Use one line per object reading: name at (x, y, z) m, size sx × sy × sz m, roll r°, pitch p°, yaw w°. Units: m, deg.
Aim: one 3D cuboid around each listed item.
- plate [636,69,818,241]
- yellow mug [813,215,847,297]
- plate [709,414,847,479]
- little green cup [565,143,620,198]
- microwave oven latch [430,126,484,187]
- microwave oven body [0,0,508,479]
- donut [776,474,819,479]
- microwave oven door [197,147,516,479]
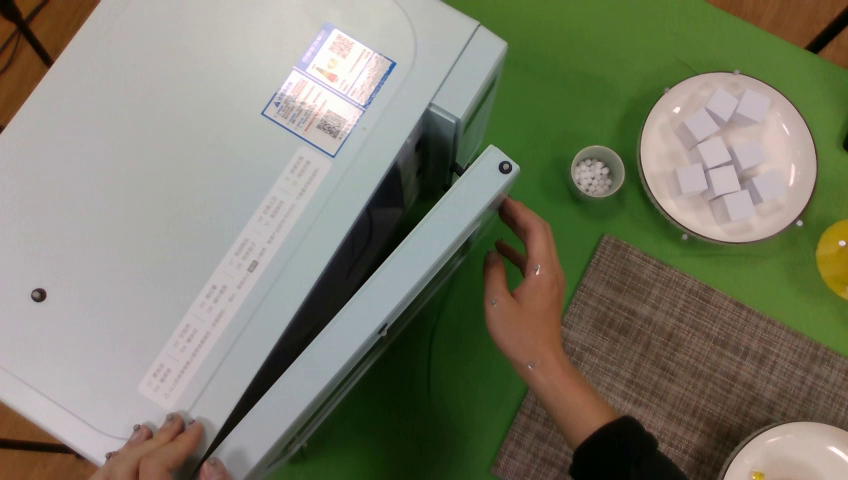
plate at (0.350, -0.098, 0.714) m, size 0.208 × 0.039 × 0.207 m, roll 0°, pitch 81°, yaw -1°
yellow mug at (0.510, 0.030, 0.681) m, size 0.100 × 0.064 × 0.130 m, roll -9°, pitch 82°, yaw -2°
plate at (0.402, 0.290, 0.647) m, size 0.209 × 0.038 × 0.208 m, roll 0°, pitch 81°, yaw 0°
little green cup at (0.194, -0.078, 0.707) m, size 0.061 × 0.039 × 0.061 m, roll 0°, pitch 82°, yaw 1°
microwave oven latch at (0.037, -0.101, 0.691) m, size 0.030 × 0.029 × 0.079 m, roll 34°, pitch 83°, yaw 4°
microwave oven body at (-0.181, -0.044, 0.581) m, size 0.325 × 0.261 × 0.441 m, roll 31°, pitch 82°, yaw 4°
donut at (0.400, 0.297, 0.635) m, size 0.099 × 0.048 × 0.099 m, roll 0°, pitch 83°, yaw 2°
microwave oven door at (-0.055, 0.083, 0.557) m, size 0.039 × 0.244 × 0.355 m, roll 41°, pitch 82°, yaw 7°
